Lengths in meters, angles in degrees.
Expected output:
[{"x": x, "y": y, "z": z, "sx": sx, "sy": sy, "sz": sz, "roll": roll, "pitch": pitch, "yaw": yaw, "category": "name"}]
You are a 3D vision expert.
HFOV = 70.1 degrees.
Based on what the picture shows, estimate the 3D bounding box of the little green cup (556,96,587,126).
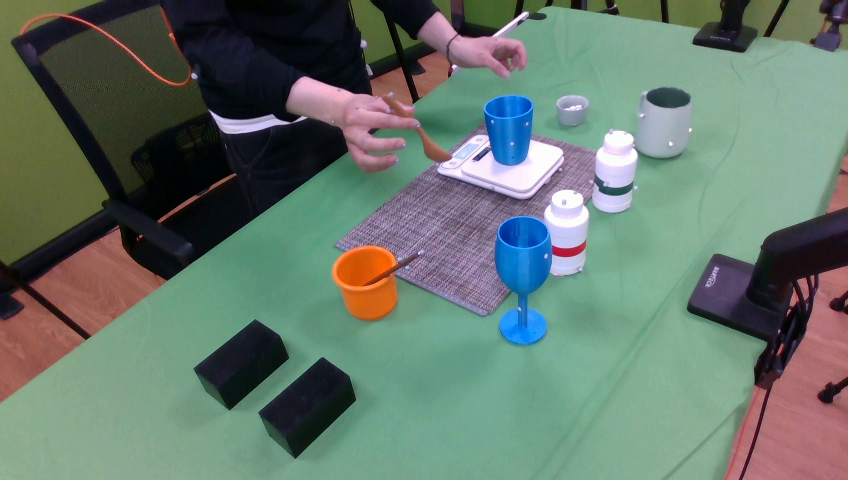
[{"x": 0.295, "y": -0.258, "z": 1.214, "sx": 0.061, "sy": 0.039, "sz": 0.061, "roll": -4, "pitch": 41, "yaw": 4, "category": "little green cup"}]

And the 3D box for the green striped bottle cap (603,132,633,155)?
[{"x": 0.302, "y": -0.149, "z": 0.939, "sx": 0.044, "sy": 0.020, "sz": 0.044, "roll": -3, "pitch": 40, "yaw": 3, "category": "green striped bottle cap"}]

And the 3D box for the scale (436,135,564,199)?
[{"x": 0.137, "y": -0.142, "z": 1.101, "sx": 0.199, "sy": 0.032, "sz": 0.149, "roll": 22, "pitch": 48, "yaw": 30, "category": "scale"}]

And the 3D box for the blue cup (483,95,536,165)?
[{"x": 0.148, "y": -0.188, "z": 1.053, "sx": 0.092, "sy": 0.100, "sz": 0.092, "roll": -5, "pitch": 39, "yaw": 5, "category": "blue cup"}]

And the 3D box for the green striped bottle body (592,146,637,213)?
[{"x": 0.307, "y": -0.108, "z": 0.976, "sx": 0.063, "sy": 0.120, "sz": 0.063, "roll": -4, "pitch": 41, "yaw": 4, "category": "green striped bottle body"}]

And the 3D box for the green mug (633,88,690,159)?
[{"x": 0.423, "y": -0.217, "z": 1.099, "sx": 0.093, "sy": 0.105, "sz": 0.124, "roll": -16, "pitch": 41, "yaw": -10, "category": "green mug"}]

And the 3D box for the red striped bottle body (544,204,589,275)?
[{"x": 0.206, "y": -0.011, "z": 0.877, "sx": 0.063, "sy": 0.120, "sz": 0.062, "roll": -5, "pitch": 41, "yaw": 4, "category": "red striped bottle body"}]

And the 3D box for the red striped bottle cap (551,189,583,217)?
[{"x": 0.200, "y": -0.052, "z": 0.843, "sx": 0.044, "sy": 0.018, "sz": 0.044, "roll": -2, "pitch": 42, "yaw": 2, "category": "red striped bottle cap"}]

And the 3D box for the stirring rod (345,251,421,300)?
[{"x": -0.060, "y": 0.051, "z": 0.829, "sx": 0.175, "sy": 0.006, "sz": 0.014, "roll": -32, "pitch": 18, "yaw": 44, "category": "stirring rod"}]

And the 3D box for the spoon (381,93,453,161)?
[{"x": -0.011, "y": -0.157, "z": 0.859, "sx": 0.041, "sy": 0.195, "sz": 0.021, "roll": 2, "pitch": 69, "yaw": 29, "category": "spoon"}]

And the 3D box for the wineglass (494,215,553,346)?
[{"x": 0.127, "y": 0.055, "z": 0.770, "sx": 0.074, "sy": 0.173, "sz": 0.073, "roll": -4, "pitch": 40, "yaw": 4, "category": "wineglass"}]
